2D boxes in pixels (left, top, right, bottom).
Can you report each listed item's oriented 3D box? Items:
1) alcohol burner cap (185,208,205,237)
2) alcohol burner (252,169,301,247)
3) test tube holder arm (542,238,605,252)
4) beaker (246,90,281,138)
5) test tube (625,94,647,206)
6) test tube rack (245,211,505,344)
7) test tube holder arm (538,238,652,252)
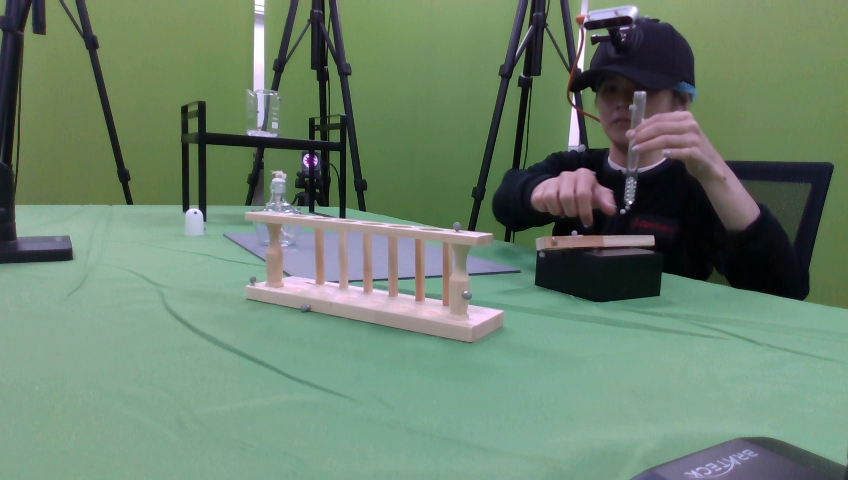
[{"bbox_3d":[-0.391,-0.031,1.032,0.034,0.048,0.034,3,8,0],"label":"alcohol burner cap"},{"bbox_3d":[-0.228,-0.050,0.936,0.078,0.119,0.078,1,7,0],"label":"alcohol burner"},{"bbox_3d":[0.166,0.006,0.666,0.088,0.015,0.010,0,2,-33],"label":"test tube holder arm"},{"bbox_3d":[-0.354,-0.275,1.322,0.074,0.100,0.084,4,8,12],"label":"beaker"},{"bbox_3d":[0.285,-0.120,0.814,0.017,0.150,0.017,2,11,0],"label":"test tube"},{"bbox_3d":[-0.049,0.025,0.547,0.241,0.085,0.067,7,8,29],"label":"test tube rack"},{"bbox_3d":[0.201,0.005,0.696,0.179,0.015,0.013,0,2,-33],"label":"test tube holder arm"}]
